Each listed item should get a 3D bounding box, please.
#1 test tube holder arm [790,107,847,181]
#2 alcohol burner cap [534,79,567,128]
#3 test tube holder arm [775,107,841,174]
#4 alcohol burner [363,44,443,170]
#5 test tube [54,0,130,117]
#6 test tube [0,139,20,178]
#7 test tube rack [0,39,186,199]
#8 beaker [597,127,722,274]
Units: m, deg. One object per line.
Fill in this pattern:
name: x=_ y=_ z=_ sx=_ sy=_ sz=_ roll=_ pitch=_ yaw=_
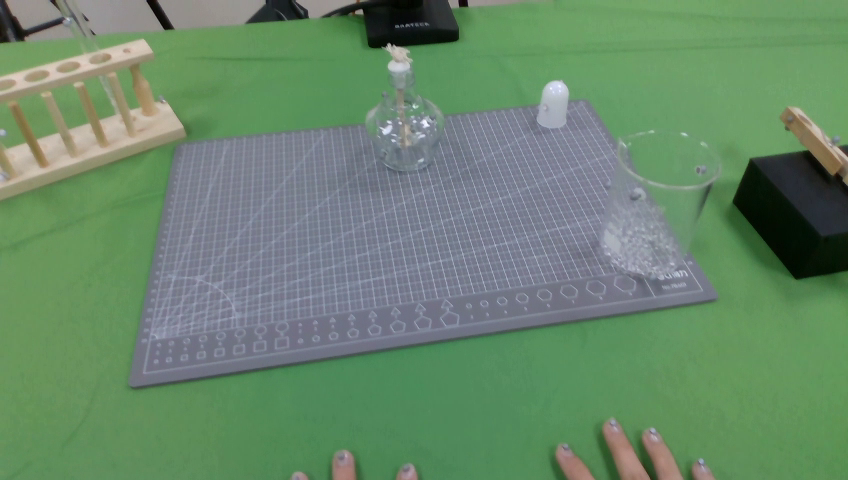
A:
test tube holder arm: x=0.352 y=-0.058 z=0.502 sx=0.013 sy=0.015 sz=0.176 roll=-4 pitch=44 yaw=-9
alcohol burner cap: x=0.135 y=-0.148 z=0.644 sx=0.034 sy=0.048 sz=0.033 roll=0 pitch=45 yaw=1
test tube holder arm: x=0.339 y=-0.089 z=0.533 sx=0.010 sy=0.015 sz=0.087 roll=-3 pitch=44 yaw=-8
alcohol burner: x=-0.021 y=-0.128 z=0.576 sx=0.078 sy=0.120 sz=0.077 roll=-2 pitch=44 yaw=2
test tube: x=-0.325 y=-0.184 z=0.591 sx=0.017 sy=0.151 sz=0.017 roll=-3 pitch=47 yaw=3
test tube: x=-0.401 y=-0.117 z=0.533 sx=0.017 sy=0.152 sz=0.017 roll=-2 pitch=44 yaw=2
test tube rack: x=-0.373 y=-0.112 z=0.590 sx=0.242 sy=0.086 sz=0.066 roll=-25 pitch=50 yaw=-23
beaker: x=0.179 y=-0.030 z=0.484 sx=0.074 sy=0.101 sz=0.083 roll=-30 pitch=51 yaw=-25
